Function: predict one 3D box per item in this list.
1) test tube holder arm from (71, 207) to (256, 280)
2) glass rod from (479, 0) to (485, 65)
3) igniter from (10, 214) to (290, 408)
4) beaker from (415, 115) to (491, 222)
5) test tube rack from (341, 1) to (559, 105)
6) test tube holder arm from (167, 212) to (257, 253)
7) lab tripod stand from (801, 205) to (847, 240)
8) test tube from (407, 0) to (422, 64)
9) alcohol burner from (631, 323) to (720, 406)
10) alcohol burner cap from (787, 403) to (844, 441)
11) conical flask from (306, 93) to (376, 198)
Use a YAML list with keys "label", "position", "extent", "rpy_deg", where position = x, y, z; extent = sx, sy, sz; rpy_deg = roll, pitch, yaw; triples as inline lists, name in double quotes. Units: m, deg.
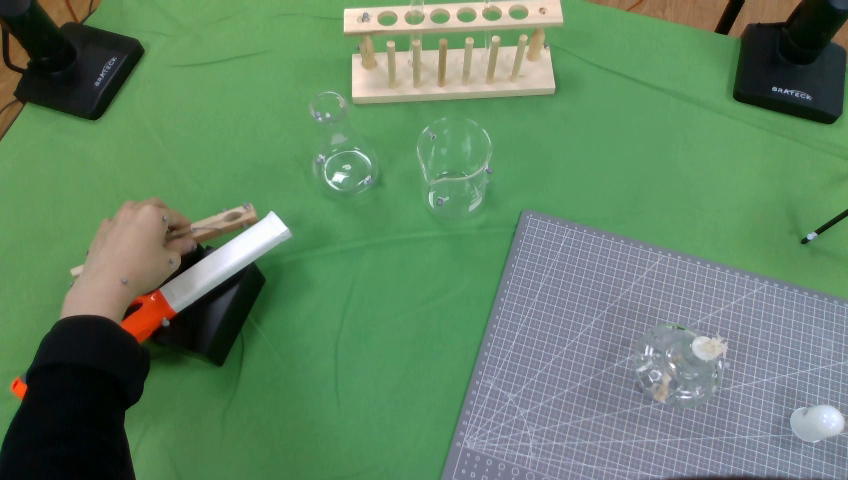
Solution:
- label: "test tube holder arm"
  position: [-0.254, 0.003, 0.596]
  extent: [0.178, 0.015, 0.013]
  rpy_deg: [-19, 62, -7]
- label: "glass rod"
  position: [0.062, -0.268, 0.657]
  extent: [0.008, 0.201, 0.008]
  rpy_deg: [-2, 58, 4]
- label: "igniter"
  position: [-0.250, 0.064, 0.567]
  extent: [0.276, 0.025, 0.056]
  rpy_deg: [-36, 61, -15]
- label: "beaker"
  position: [0.027, -0.067, 0.634]
  extent: [0.073, 0.101, 0.084]
  rpy_deg: [31, 70, 15]
- label: "test tube rack"
  position: [0.030, -0.216, 0.707]
  extent: [0.242, 0.086, 0.066]
  rpy_deg: [-3, 66, 0]
- label: "test tube holder arm"
  position: [-0.210, -0.007, 0.599]
  extent: [0.088, 0.015, 0.010]
  rpy_deg: [-19, 62, -7]
- label: "lab tripod stand"
  position: [0.474, -0.045, 0.596]
  extent: [0.148, 0.132, 0.147]
  rpy_deg: [0, 65, -1]
- label: "test tube"
  position: [-0.011, -0.252, 0.669]
  extent: [0.017, 0.151, 0.017]
  rpy_deg: [1, 60, -2]
- label: "alcohol burner"
  position: [0.230, 0.107, 0.541]
  extent: [0.078, 0.120, 0.077]
  rpy_deg: [0, 65, -1]
- label: "alcohol burner cap"
  position: [0.360, 0.164, 0.553]
  extent: [0.034, 0.048, 0.033]
  rpy_deg: [0, 66, 1]
- label: "conical flask"
  position: [-0.093, -0.103, 0.638]
  extent: [0.075, 0.123, 0.075]
  rpy_deg: [0, 65, 1]
